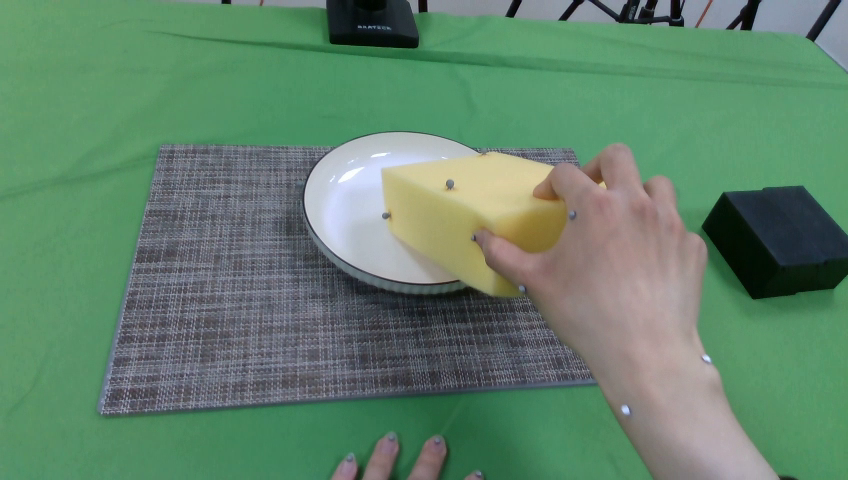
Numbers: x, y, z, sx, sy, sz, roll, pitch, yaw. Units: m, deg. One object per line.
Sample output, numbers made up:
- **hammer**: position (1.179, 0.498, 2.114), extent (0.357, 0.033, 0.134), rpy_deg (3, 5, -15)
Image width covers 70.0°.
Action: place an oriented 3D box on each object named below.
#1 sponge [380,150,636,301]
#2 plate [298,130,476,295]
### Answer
- **sponge**: position (0.054, -0.024, 0.489), extent (0.118, 0.061, 0.205), rpy_deg (-11, 19, -21)
- **plate**: position (-0.012, -0.026, 0.571), extent (0.208, 0.039, 0.205), rpy_deg (5, 46, -5)
